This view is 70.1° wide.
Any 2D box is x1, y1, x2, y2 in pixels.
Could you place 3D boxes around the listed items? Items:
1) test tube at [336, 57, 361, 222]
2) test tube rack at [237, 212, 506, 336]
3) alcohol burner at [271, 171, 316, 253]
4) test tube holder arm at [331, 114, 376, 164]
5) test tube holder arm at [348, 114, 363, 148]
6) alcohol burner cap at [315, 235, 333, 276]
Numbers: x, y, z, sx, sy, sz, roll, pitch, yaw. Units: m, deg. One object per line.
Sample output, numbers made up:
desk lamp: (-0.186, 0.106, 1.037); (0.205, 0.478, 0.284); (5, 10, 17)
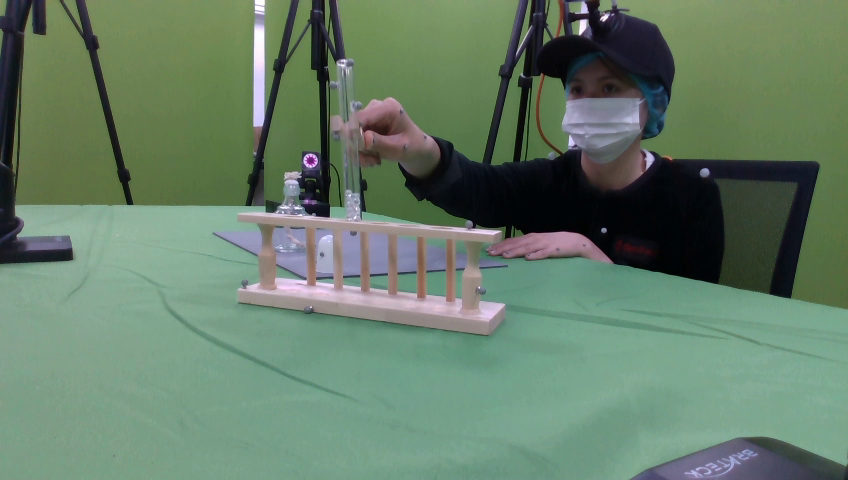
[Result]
test tube: (-0.067, -0.087, 0.539); (0.017, 0.150, 0.017); (-3, 0, 0)
test tube rack: (-0.049, 0.024, 0.552); (0.242, 0.085, 0.067); (5, 8, 18)
alcohol burner: (-0.196, -0.041, 0.884); (0.078, 0.119, 0.078); (3, 5, 0)
test tube holder arm: (-0.067, -0.099, 0.608); (0.013, 0.015, 0.178); (2, -2, 4)
test tube holder arm: (-0.063, -0.100, 0.563); (0.010, 0.015, 0.088); (2, -2, -4)
alcohol burner cap: (-0.116, 0.018, 0.728); (0.034, 0.048, 0.034); (3, 6, 0)
